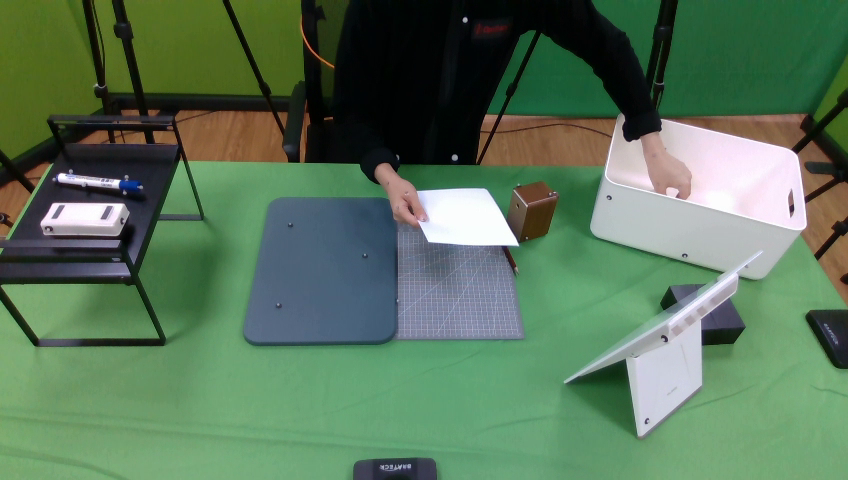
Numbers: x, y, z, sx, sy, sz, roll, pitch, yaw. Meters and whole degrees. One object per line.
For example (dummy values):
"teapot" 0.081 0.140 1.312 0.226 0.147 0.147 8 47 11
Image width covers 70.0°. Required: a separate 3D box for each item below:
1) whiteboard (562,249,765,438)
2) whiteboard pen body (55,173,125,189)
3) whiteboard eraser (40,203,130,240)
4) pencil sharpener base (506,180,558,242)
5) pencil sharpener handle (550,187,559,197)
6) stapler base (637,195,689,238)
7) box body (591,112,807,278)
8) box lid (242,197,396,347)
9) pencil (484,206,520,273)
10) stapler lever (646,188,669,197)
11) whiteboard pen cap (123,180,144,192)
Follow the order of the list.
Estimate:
"whiteboard" 0.386 0.175 0.905 0.217 0.306 0.143 -26 72 -26
"whiteboard pen body" -0.539 -0.095 0.998 0.141 0.017 0.017 6 46 6
"whiteboard eraser" -0.513 -0.028 0.922 0.113 0.042 0.055 1 48 -3
"pencil sharpener base" 0.216 -0.058 1.211 0.077 0.107 0.061 -16 49 -19
"pencil sharpener handle" 0.261 -0.084 1.221 0.031 0.068 0.036 -16 65 -19
"stapler base" 0.508 -0.056 1.279 0.041 0.024 0.129 -13 46 -20
"box body" 0.540 -0.092 1.229 0.363 0.161 0.253 16 47 11
"box lid" -0.186 0.046 1.147 0.263 0.015 0.369 0 46 -3
"pencil" 0.157 -0.003 1.217 0.012 0.012 0.192 -10 47 -13
"stapler lever" 0.508 -0.075 1.262 0.027 0.040 0.117 -13 45 -20
"whiteboard pen cap" -0.479 -0.089 0.993 0.033 0.018 0.018 7 46 14
